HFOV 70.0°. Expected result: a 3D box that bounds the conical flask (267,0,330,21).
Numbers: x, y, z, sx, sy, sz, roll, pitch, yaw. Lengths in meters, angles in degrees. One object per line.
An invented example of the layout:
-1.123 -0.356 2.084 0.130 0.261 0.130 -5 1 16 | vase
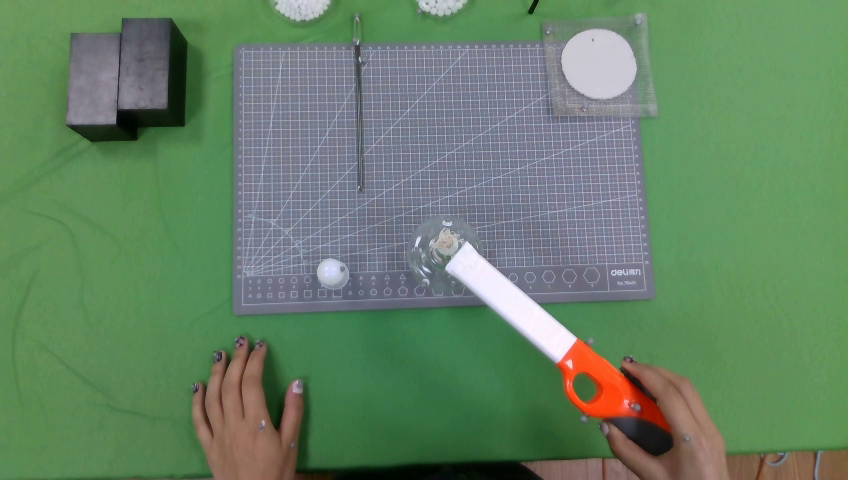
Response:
-0.139 -0.290 0.631 0.075 0.122 0.075 0 81 -3 | conical flask

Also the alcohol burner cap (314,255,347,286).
-0.098 0.029 0.624 0.034 0.048 0.033 1 82 -3 | alcohol burner cap

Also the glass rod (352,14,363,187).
-0.073 -0.156 0.668 0.008 0.008 0.199 -2 81 -4 | glass rod

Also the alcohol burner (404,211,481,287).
0.019 0.007 0.597 0.078 0.119 0.077 0 83 -2 | alcohol burner

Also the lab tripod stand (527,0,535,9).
0.177 -0.324 0.647 0.148 0.131 0.148 0 83 -3 | lab tripod stand

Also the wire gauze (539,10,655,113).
0.198 -0.202 0.691 0.125 0.011 0.121 -3 82 -3 | wire gauze

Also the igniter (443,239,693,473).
0.128 0.101 0.528 0.276 0.025 0.057 41 82 -1 | igniter

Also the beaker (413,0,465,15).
0.018 -0.300 0.653 0.074 0.100 0.083 1 80 -3 | beaker
